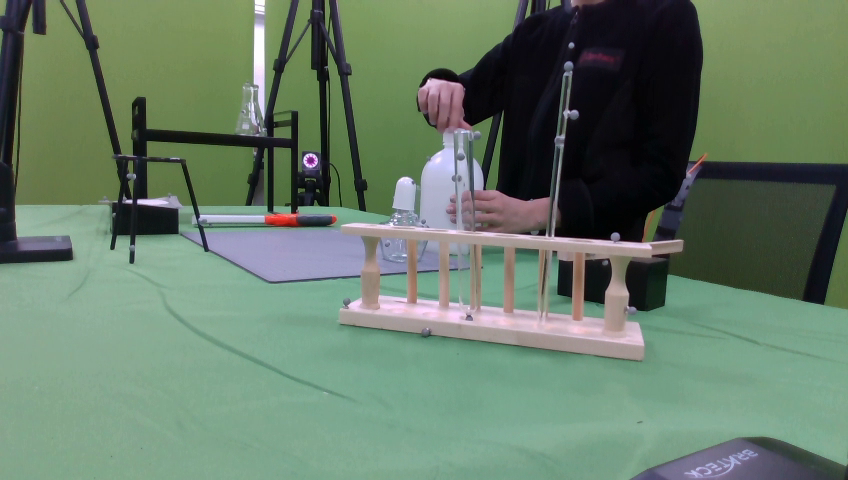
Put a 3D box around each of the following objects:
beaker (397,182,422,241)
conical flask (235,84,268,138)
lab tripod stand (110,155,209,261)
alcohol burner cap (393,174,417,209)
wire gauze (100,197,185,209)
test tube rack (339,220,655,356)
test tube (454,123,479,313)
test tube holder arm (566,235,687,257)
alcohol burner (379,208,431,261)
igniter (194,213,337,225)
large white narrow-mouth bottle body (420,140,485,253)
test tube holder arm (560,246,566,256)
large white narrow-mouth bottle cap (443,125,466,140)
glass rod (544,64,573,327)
[{"bbox_3d":[-0.011,-0.051,1.078,0.074,0.100,0.083,-2,9,-26],"label":"beaker"},{"bbox_3d":[-0.401,-0.299,1.406,0.075,0.122,0.075,2,7,0],"label":"conical flask"},{"bbox_3d":[-0.361,-0.046,0.806,0.148,0.131,0.148,2,5,0],"label":"lab tripod stand"},{"bbox_3d":[-0.025,-0.067,0.834,0.034,0.048,0.034,8,7,-1],"label":"alcohol burner cap"},{"bbox_3d":[-0.469,-0.062,1.008,0.126,0.011,0.121,-2,8,-25],"label":"wire gauze"},{"bbox_3d":[0.056,0.032,0.495,0.242,0.085,0.067,4,7,15],"label":"test tube rack"},{"bbox_3d":[0.034,-0.016,0.477,0.017,0.150,0.017,-2,9,1],"label":"test tube"},{"bbox_3d":[0.215,0.006,0.630,0.179,0.015,0.013,-3,9,-31],"label":"test tube holder arm"},{"bbox_3d":[-0.027,-0.031,0.838,0.078,0.119,0.078,0,6,0],"label":"alcohol burner"},{"bbox_3d":[-0.306,-0.042,1.196,0.278,0.025,0.057,-2,-2,-30],"label":"igniter"},{"bbox_3d":[0.046,-0.081,0.956,0.102,0.194,0.102,2,8,0],"label":"large white narrow-mouth bottle body"},{"bbox_3d":[0.173,0.007,0.612,0.088,0.015,0.010,-3,9,-30],"label":"test tube holder arm"},{"bbox_3d":[0.048,-0.167,0.944,0.038,0.024,0.037,2,8,0],"label":"large white narrow-mouth bottle cap"},{"bbox_3d":[0.101,-0.028,0.453,0.008,0.199,0.008,1,14,0],"label":"glass rod"}]
